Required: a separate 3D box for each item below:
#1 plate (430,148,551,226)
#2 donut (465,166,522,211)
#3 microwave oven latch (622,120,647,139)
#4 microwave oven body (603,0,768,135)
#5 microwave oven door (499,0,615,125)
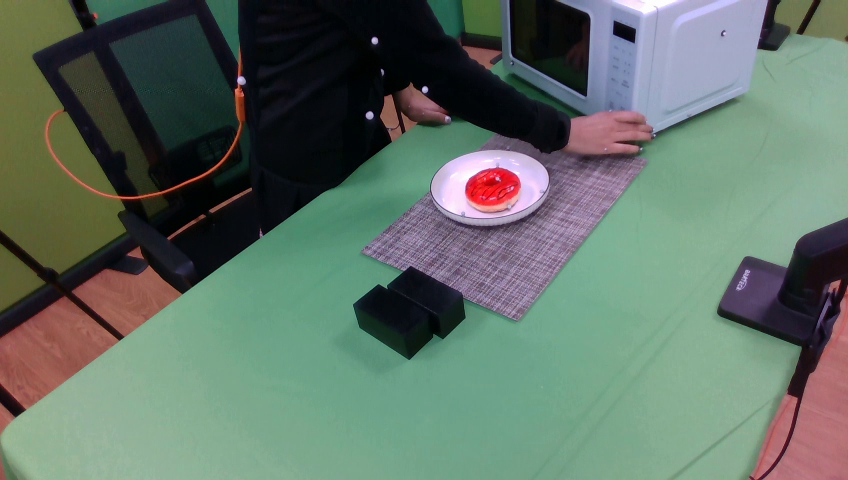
[{"bbox_3d":[0.115,-0.089,1.049,0.209,0.038,0.208,-5,40,5],"label":"plate"},{"bbox_3d":[0.117,-0.089,1.031,0.099,0.048,0.098,-7,41,6],"label":"donut"},{"bbox_3d":[0.390,-0.217,1.126,0.030,0.029,0.079,-6,40,7],"label":"microwave oven latch"},{"bbox_3d":[0.411,-0.441,1.235,0.327,0.261,0.437,-25,42,-16],"label":"microwave oven body"},{"bbox_3d":[0.261,-0.410,1.219,0.039,0.245,0.352,-24,42,-17],"label":"microwave oven door"}]
